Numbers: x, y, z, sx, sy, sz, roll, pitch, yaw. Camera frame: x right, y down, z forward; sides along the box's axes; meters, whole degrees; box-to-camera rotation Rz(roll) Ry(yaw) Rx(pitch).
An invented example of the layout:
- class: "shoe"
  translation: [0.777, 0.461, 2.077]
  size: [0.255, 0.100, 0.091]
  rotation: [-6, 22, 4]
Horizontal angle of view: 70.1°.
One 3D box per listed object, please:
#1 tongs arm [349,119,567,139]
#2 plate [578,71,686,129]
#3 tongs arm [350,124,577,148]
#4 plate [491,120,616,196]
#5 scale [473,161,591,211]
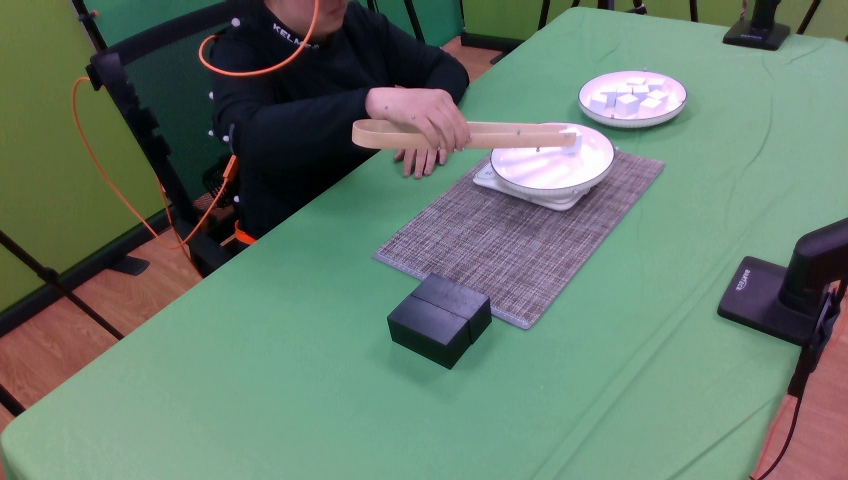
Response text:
- class: "tongs arm"
  translation: [0.066, -0.178, 0.984]
  size: [0.390, 0.028, 0.028]
  rotation: [-3, 37, -21]
- class: "plate"
  translation: [0.416, -0.280, 1.222]
  size: [0.209, 0.038, 0.208]
  rotation: [-5, 41, 5]
- class: "tongs arm"
  translation: [0.074, -0.166, 0.965]
  size: [0.387, 0.026, 0.050]
  rotation: [-6, 34, -25]
- class: "plate"
  translation: [0.221, -0.137, 1.038]
  size: [0.207, 0.039, 0.206]
  rotation: [-6, 41, 5]
- class: "scale"
  translation: [0.202, -0.121, 1.074]
  size: [0.199, 0.032, 0.149]
  rotation: [23, 49, 33]
